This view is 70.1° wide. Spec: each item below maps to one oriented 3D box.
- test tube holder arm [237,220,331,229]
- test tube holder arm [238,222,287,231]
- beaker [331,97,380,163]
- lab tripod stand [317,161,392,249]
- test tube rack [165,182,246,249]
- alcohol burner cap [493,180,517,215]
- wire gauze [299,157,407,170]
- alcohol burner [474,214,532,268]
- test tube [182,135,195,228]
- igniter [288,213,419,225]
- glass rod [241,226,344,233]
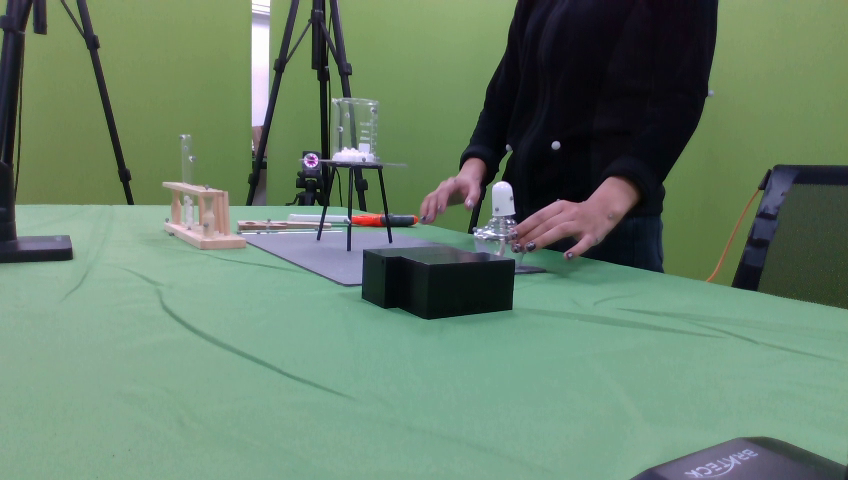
[{"bbox_3d":[-0.260,-0.028,1.140,0.179,0.015,0.013,-1,40,-32],"label":"test tube holder arm"},{"bbox_3d":[-0.296,-0.024,1.112,0.088,0.015,0.010,-1,40,-32],"label":"test tube holder arm"},{"bbox_3d":[-0.111,-0.171,0.950,0.073,0.100,0.084,12,12,42],"label":"beaker"},{"bbox_3d":[-0.111,-0.059,0.963,0.148,0.131,0.148,4,8,0],"label":"lab tripod stand"},{"bbox_3d":[-0.360,-0.045,0.983,0.067,0.085,0.241,-3,9,-34],"label":"test tube rack"},{"bbox_3d":[0.107,-0.057,0.812,0.034,0.048,0.034,-7,11,2],"label":"alcohol burner cap"},{"bbox_3d":[-0.112,-0.124,0.959,0.121,0.011,0.126,13,12,40],"label":"wire gauze"},{"bbox_3d":[0.107,-0.022,0.819,0.078,0.119,0.078,1,9,0],"label":"alcohol burner"},{"bbox_3d":[-0.382,-0.095,0.983,0.017,0.150,0.017,-1,2,0],"label":"test tube"},{"bbox_3d":[-0.145,-0.044,1.278,0.278,0.025,0.057,-1,-2,-21],"label":"igniter"},{"bbox_3d":[-0.239,-0.019,1.118,0.201,0.008,0.008,-3,9,-33],"label":"glass rod"}]
